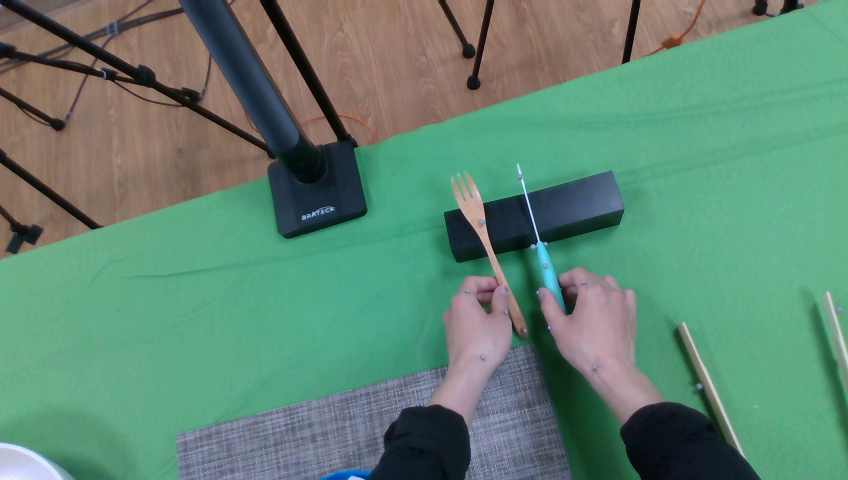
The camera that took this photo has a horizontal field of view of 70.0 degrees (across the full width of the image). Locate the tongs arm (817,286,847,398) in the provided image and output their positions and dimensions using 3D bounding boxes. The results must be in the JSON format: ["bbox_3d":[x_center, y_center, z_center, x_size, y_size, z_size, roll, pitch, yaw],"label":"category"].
[{"bbox_3d":[0.420,0.236,0.589,0.050,0.027,0.382,-9,72,10],"label":"tongs arm"}]

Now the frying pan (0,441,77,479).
[{"bbox_3d":[-0.480,0.471,0.648,0.307,0.104,0.483,-18,61,6],"label":"frying pan"}]

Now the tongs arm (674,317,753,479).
[{"bbox_3d":[0.342,0.255,0.603,0.028,0.028,0.384,-20,70,2],"label":"tongs arm"}]

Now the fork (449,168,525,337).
[{"bbox_3d":[0.074,0.016,0.698,0.028,0.018,0.207,-23,90,-19],"label":"fork"}]

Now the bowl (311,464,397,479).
[{"bbox_3d":[-0.065,0.311,0.630,0.151,0.077,0.150,-3,71,10],"label":"bowl"}]

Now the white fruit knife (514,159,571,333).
[{"bbox_3d":[0.132,0.006,0.691,0.016,0.027,0.207,-17,86,11],"label":"white fruit knife"}]
